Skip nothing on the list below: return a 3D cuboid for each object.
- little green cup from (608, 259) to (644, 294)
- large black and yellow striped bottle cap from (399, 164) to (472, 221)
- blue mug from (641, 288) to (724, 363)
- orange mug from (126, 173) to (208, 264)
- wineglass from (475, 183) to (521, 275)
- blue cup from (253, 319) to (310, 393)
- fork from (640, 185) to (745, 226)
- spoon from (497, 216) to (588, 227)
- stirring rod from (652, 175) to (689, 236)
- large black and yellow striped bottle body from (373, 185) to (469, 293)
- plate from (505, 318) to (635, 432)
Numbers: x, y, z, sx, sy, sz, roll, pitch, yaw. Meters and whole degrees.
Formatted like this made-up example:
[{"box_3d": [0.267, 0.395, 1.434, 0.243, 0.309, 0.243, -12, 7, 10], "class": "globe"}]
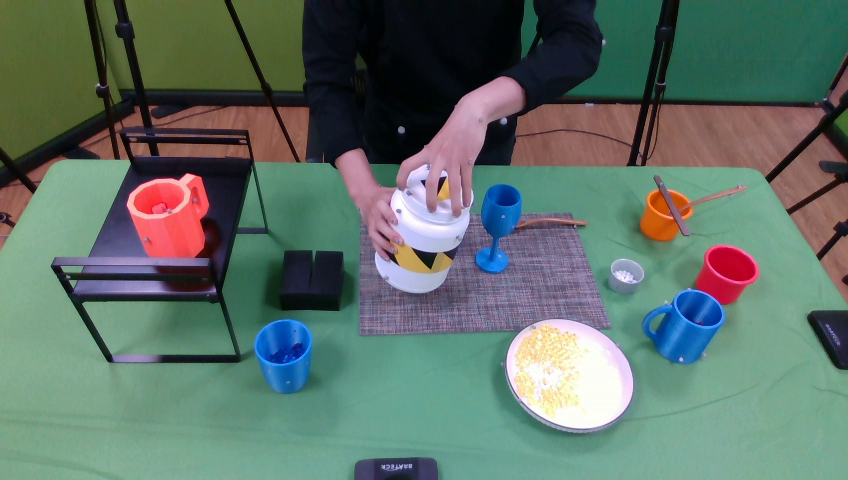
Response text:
[{"box_3d": [0.379, 0.070, 1.147, 0.061, 0.039, 0.061, 3, 45, -3], "class": "little green cup"}, {"box_3d": [0.019, -0.075, 0.936, 0.115, 0.019, 0.114, 12, 44, -11], "class": "large black and yellow striped bottle cap"}, {"box_3d": [0.432, 0.144, 1.033, 0.116, 0.106, 0.082, 9, 46, 5], "class": "blue mug"}, {"box_3d": [-0.371, -0.040, 0.902, 0.083, 0.101, 0.126, 18, 52, 13], "class": "orange mug"}, {"box_3d": [0.134, -0.020, 1.115, 0.074, 0.173, 0.073, 2, 46, -2], "class": "wineglass"}, {"box_3d": [-0.217, 0.187, 0.943, 0.093, 0.101, 0.092, 3, 45, -3], "class": "blue cup"}, {"box_3d": [0.534, -0.069, 1.215, 0.207, 0.019, 0.028, -26, 27, 33], "class": "fork"}, {"box_3d": [0.245, -0.039, 1.247, 0.194, 0.022, 0.041, -1, 25, -6], "class": "spoon"}, {"box_3d": [0.491, -0.072, 1.211, 0.014, 0.006, 0.175, -1, 47, -5], "class": "stirring rod"}, {"box_3d": [-0.003, -0.016, 0.991, 0.131, 0.184, 0.130, 11, 43, -10], "class": "large black and yellow striped bottle body"}, {"box_3d": [0.235, 0.221, 0.991, 0.209, 0.038, 0.208, 2, 45, -2], "class": "plate"}]
